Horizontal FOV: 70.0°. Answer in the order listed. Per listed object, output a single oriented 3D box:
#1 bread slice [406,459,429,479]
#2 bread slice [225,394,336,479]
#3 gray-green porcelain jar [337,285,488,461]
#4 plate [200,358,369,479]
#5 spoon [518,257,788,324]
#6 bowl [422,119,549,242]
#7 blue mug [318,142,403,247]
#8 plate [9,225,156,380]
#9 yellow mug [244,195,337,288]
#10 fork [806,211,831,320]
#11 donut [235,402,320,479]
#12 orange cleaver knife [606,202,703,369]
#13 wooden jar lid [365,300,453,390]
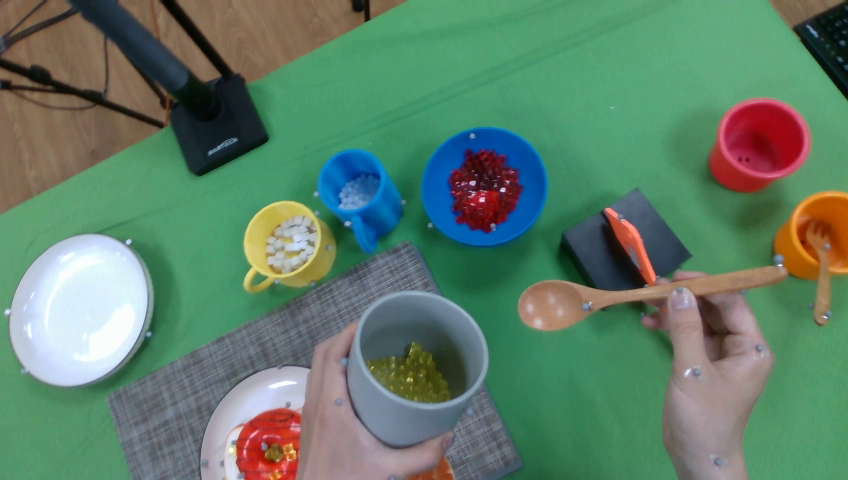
[{"bbox_3d":[0.004,0.288,0.644,0.018,0.135,0.106,-19,72,-4],"label":"bread slice"},{"bbox_3d":[-0.175,0.253,0.731,0.131,0.019,0.104,-14,74,2],"label":"bread slice"},{"bbox_3d":[-0.015,0.116,0.505,0.106,0.127,0.105,9,47,-10],"label":"gray-green porcelain jar"},{"bbox_3d":[-0.163,0.248,0.726,0.209,0.038,0.208,-2,76,9],"label":"plate"},{"bbox_3d":[0.159,0.036,0.449,0.193,0.022,0.041,-12,87,36],"label":"spoon"},{"bbox_3d":[0.077,-0.062,0.747,0.151,0.077,0.150,-2,76,9],"label":"bowl"},{"bbox_3d":[-0.075,-0.048,0.755,0.082,0.106,0.116,-8,75,8],"label":"blue mug"},{"bbox_3d":[-0.455,0.083,0.819,0.207,0.039,0.206,-2,76,9],"label":"plate"},{"bbox_3d":[-0.181,0.011,0.778,0.099,0.064,0.131,41,87,17],"label":"yellow mug"},{"bbox_3d":[0.415,0.021,0.634,0.028,0.019,0.207,35,40,10],"label":"fork"},{"bbox_3d":[-0.169,0.238,0.701,0.099,0.048,0.098,-1,75,6],"label":"donut"},{"bbox_3d":[0.260,0.051,0.687,0.012,0.077,0.212,-30,103,2],"label":"orange cleaver knife"},{"bbox_3d":[-0.018,0.128,0.742,0.108,0.021,0.108,-2,77,8],"label":"wooden jar lid"}]
